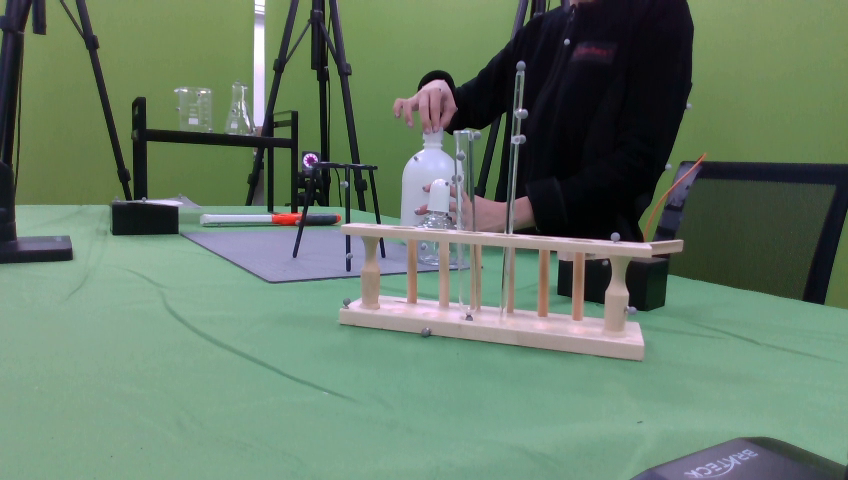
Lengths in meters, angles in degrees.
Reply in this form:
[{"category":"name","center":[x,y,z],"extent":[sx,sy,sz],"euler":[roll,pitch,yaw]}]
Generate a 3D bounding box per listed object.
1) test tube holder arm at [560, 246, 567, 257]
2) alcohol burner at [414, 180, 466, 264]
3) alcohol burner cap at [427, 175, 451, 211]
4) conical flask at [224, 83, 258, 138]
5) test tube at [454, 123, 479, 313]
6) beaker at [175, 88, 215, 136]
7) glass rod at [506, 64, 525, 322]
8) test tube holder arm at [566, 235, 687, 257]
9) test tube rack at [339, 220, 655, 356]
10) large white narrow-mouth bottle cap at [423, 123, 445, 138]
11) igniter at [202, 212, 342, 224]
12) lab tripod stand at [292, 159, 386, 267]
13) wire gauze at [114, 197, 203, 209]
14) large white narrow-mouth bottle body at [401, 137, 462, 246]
[{"category":"test tube holder arm","center":[0.173,0.007,0.611],"extent":[0.088,0.015,0.010],"euler":[-3,9,-30]},{"category":"alcohol burner","center":[0.021,-0.028,0.826],"extent":[0.078,0.119,0.078],"euler":[0,6,0]},{"category":"alcohol burner cap","center":[0.023,-0.064,0.822],"extent":[0.034,0.048,0.034],"euler":[7,5,0]},{"category":"conical flask","center":[-0.422,-0.299,1.395],"extent":[0.075,0.122,0.075],"euler":[2,7,0]},{"category":"test tube","center":[0.034,-0.016,0.477],"extent":[0.017,0.150,0.017],"euler":[-2,9,1]},{"category":"beaker","center":[-0.511,-0.285,1.353],"extent":[0.084,0.100,0.073],"euler":[-2,8,-25]},{"category":"glass rod","center":[0.069,-0.030,0.458],"extent":[0.008,0.199,0.008],"euler":[0,15,0]},{"category":"test tube holder arm","center":[0.215,0.006,0.630],"extent":[0.179,0.015,0.013],"euler":[-3,9,-31]},{"category":"test tube rack","center":[0.056,0.032,0.495],"extent":[0.242,0.085,0.067],"euler":[4,7,15]},{"category":"large white narrow-mouth bottle cap","center":[0.016,-0.184,1.016],"extent":[0.038,0.024,0.037],"euler":[2,8,0]},{"category":"igniter","center":[-0.298,-0.044,1.216],"extent":[0.278,0.025,0.057],"euler":[-2,-2,-33]},{"category":"lab tripod stand","center":[-0.104,-0.039,0.798],"extent":[0.148,0.131,0.148],"euler":[2,5,0]},{"category":"wire gauze","center":[-0.447,-0.062,1.015],"extent":[0.126,0.011,0.121],"euler":[-2,8,-31]},{"category":"large white narrow-mouth bottle body","center":[0.014,-0.092,1.030],"extent":[0.102,0.194,0.102],"euler":[2,8,0]}]
